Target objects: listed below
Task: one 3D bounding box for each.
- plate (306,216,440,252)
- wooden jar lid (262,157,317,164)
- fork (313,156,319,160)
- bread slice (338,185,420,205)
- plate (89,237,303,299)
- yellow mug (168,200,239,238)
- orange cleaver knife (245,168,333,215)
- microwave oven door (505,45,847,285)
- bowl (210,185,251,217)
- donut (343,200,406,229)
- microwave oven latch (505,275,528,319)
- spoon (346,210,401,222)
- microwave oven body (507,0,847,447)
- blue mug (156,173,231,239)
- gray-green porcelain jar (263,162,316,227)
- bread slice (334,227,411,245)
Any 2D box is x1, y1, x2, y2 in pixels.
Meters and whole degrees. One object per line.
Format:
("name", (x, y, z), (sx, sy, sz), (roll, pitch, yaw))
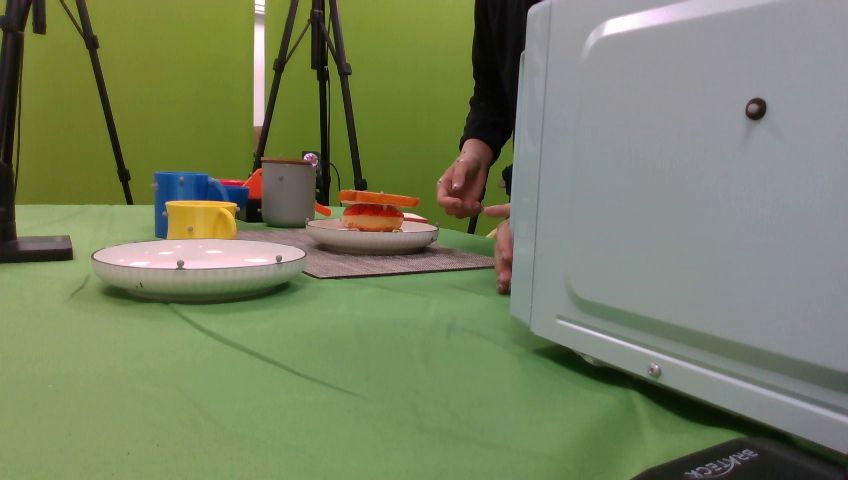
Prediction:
("plate", (-0.080, -0.011, 0.949), (0.209, 0.038, 0.209), (2, 7, 0))
("wooden jar lid", (-0.269, -0.154, 1.208), (0.108, 0.020, 0.108), (3, 4, 0))
("fork", (-0.330, -0.144, 1.506), (0.207, 0.018, 0.028), (-42, -19, 22))
("bread slice", (-0.080, -0.068, 0.937), (0.107, 0.018, 0.134), (6, 0, -22))
("plate", (-0.233, 0.029, 0.636), (0.208, 0.039, 0.207), (2, 7, 0))
("yellow mug", (-0.319, -0.023, 0.904), (0.130, 0.064, 0.100), (8, 11, 36))
("orange cleaver knife", (-0.300, -0.089, 1.351), (0.212, 0.077, 0.012), (28, -9, -34))
("microwave oven door", (0.271, -0.077, 0.649), (0.356, 0.243, 0.039), (1, 8, -3))
("bowl", (-0.408, -0.064, 1.154), (0.151, 0.077, 0.151), (2, 8, 0))
("donut", (-0.078, -0.038, 0.945), (0.099, 0.048, 0.099), (0, 8, 0))
("microwave oven latch", (0.100, 0.042, 0.471), (0.079, 0.029, 0.030), (-2, 7, -29))
("spoon", (-0.120, -0.060, 1.400), (0.042, 0.021, 0.192), (-27, 24, -38))
("microwave oven body", (0.331, -0.042, 0.425), (0.444, 0.260, 0.324), (-2, 8, -31))
("blue mug", (-0.380, -0.057, 1.004), (0.117, 0.106, 0.082), (1, 8, -12))
("gray-green porcelain jar", (-0.271, -0.092, 1.217), (0.106, 0.126, 0.106), (2, 7, 0))
("bread slice", (-0.075, -0.008, 0.937), (0.105, 0.019, 0.131), (-1, 7, -20))
